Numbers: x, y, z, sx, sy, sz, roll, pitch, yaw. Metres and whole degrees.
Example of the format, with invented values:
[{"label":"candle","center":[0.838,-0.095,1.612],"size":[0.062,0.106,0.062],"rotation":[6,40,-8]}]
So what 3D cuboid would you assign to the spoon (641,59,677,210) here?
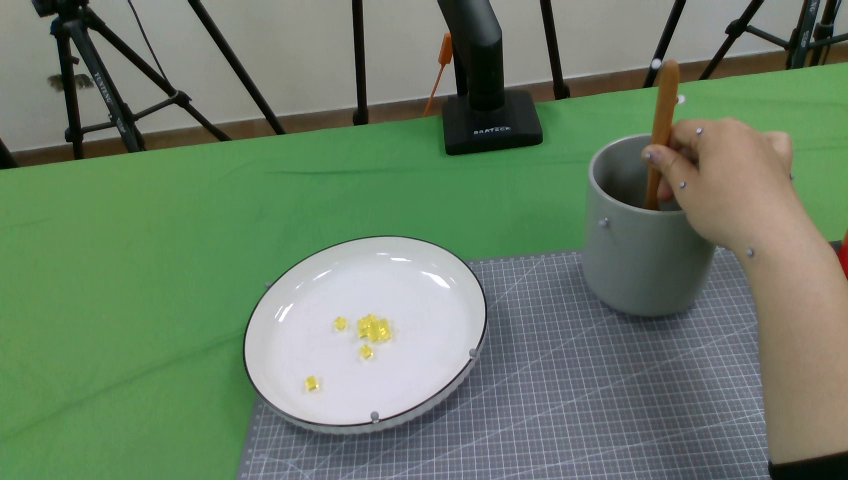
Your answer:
[{"label":"spoon","center":[0.179,-0.046,0.470],"size":[0.041,0.196,0.021],"rotation":[21,52,31]}]

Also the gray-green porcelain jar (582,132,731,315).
[{"label":"gray-green porcelain jar","center":[0.187,-0.009,0.506],"size":[0.106,0.128,0.105],"rotation":[-5,43,5]}]

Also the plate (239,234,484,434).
[{"label":"plate","center":[-0.051,0.078,0.523],"size":[0.207,0.039,0.205],"rotation":[-5,42,5]}]
